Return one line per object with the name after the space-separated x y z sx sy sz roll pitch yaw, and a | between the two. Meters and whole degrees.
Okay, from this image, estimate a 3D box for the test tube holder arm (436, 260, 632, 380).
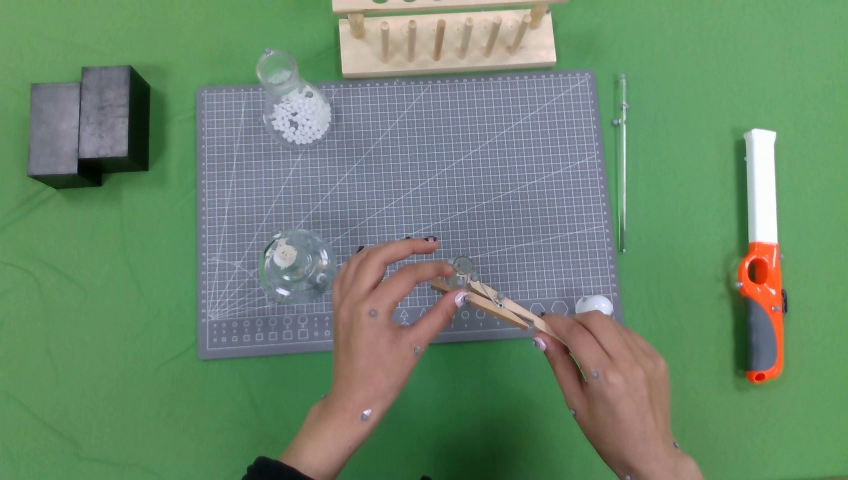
0.088 0.064 0.494 0.178 0.015 0.013 28 80 8 | test tube holder arm

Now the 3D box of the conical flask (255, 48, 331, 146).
-0.138 -0.149 0.616 0.075 0.122 0.075 0 80 -2 | conical flask

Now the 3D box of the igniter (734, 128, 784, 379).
0.365 0.012 0.661 0.057 0.025 0.275 6 80 -11 | igniter

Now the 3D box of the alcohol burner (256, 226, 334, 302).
-0.130 0.020 0.594 0.078 0.119 0.077 0 79 0 | alcohol burner

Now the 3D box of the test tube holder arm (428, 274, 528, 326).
0.045 0.050 0.500 0.087 0.015 0.010 21 78 7 | test tube holder arm

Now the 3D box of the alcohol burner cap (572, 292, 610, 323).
0.177 0.069 0.634 0.034 0.048 0.033 0 79 -2 | alcohol burner cap

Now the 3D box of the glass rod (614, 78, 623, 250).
0.219 -0.087 0.681 0.008 0.008 0.199 3 83 -2 | glass rod

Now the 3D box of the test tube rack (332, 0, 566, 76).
0.026 -0.234 0.659 0.242 0.085 0.066 -4 81 -3 | test tube rack

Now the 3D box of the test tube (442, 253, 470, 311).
0.026 0.040 0.517 0.017 0.151 0.017 0 72 0 | test tube
